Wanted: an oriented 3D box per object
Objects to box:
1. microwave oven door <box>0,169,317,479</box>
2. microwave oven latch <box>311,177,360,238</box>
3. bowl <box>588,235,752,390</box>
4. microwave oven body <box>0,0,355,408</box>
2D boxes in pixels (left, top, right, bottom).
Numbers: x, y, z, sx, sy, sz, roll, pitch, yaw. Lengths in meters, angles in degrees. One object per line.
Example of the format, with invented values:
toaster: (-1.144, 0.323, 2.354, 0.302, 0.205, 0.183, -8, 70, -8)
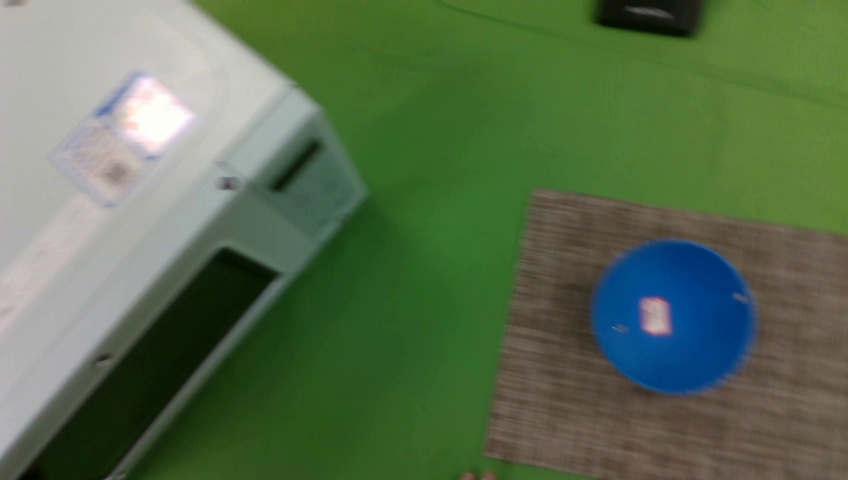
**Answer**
microwave oven door: (-0.250, 0.108, 0.546, 0.039, 0.245, 0.355, 37, 84, 11)
microwave oven latch: (-0.105, -0.041, 0.668, 0.030, 0.029, 0.079, 40, 85, 10)
bowl: (0.237, 0.075, 0.617, 0.151, 0.077, 0.150, -1, 79, 4)
microwave oven body: (-0.338, -0.011, 0.579, 0.325, 0.261, 0.441, 38, 84, 9)
